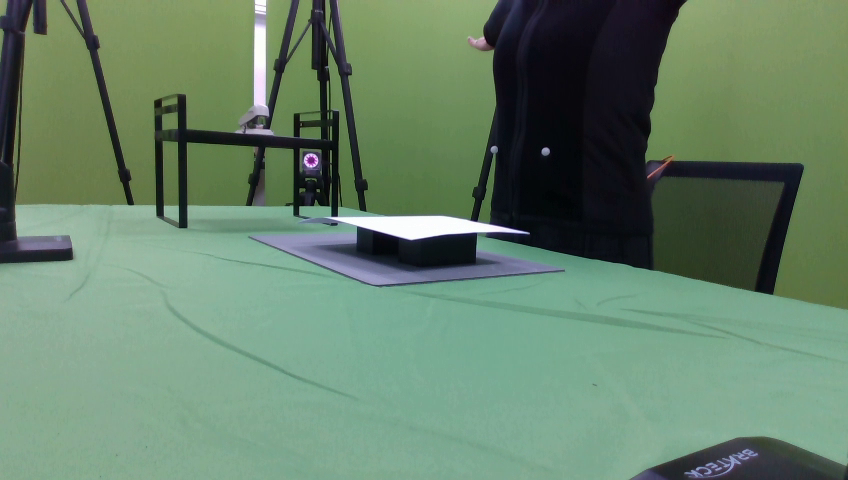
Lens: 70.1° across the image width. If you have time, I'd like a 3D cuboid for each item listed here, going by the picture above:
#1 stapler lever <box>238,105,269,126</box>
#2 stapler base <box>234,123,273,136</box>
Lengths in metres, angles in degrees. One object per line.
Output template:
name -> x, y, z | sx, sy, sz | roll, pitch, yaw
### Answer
stapler lever -> -0.344, -0.249, 1.220 | 0.027, 0.040, 0.117 | 1, 6, -35
stapler base -> -0.344, -0.224, 1.222 | 0.041, 0.024, 0.130 | 1, 6, -35
